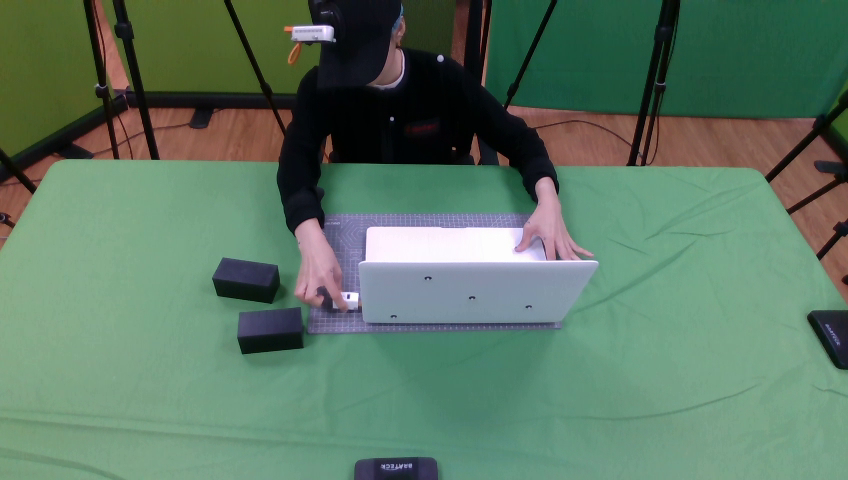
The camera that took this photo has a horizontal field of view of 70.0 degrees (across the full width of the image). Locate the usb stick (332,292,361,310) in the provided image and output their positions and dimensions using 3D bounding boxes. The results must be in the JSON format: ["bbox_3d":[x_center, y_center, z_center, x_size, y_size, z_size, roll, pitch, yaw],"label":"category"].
[{"bbox_3d":[-0.132,0.108,1.066,0.059,0.027,0.021,6,46,-7],"label":"usb stick"}]

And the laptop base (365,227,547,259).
[{"bbox_3d":[0.065,0.062,1.145,0.355,0.023,0.234,0,42,-4],"label":"laptop base"}]

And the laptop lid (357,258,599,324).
[{"bbox_3d":[0.075,0.087,0.960,0.357,0.242,0.013,1,60,-5],"label":"laptop lid"}]
